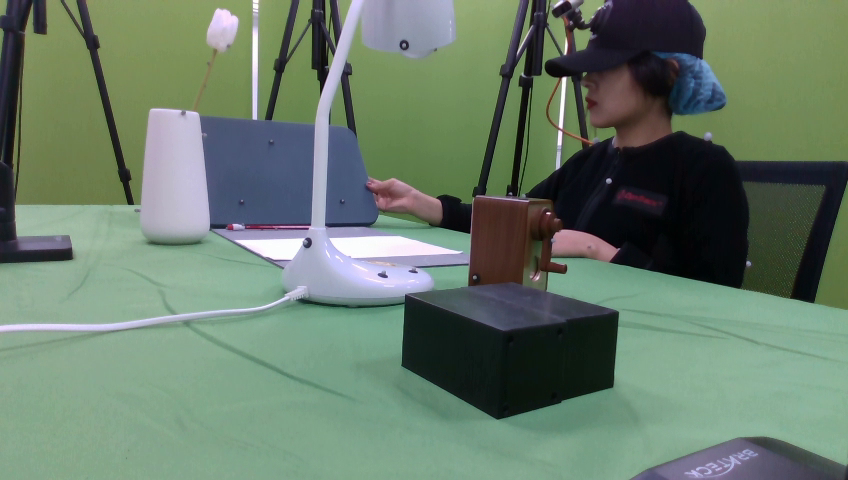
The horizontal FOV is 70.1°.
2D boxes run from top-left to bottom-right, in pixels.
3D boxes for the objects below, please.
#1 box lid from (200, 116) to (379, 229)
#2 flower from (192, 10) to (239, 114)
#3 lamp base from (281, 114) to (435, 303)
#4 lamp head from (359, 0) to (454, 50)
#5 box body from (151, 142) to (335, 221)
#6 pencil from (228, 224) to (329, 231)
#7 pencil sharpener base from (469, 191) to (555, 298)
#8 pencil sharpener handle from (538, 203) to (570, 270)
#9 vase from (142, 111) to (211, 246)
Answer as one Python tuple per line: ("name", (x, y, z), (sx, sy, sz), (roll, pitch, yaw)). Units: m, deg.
("box lid", (-0.282, -0.139, 1.234), (0.373, 0.262, 0.015), (-3, -30, -31))
("flower", (-0.353, -0.174, 0.915), (0.038, 0.361, 0.044), (17, -4, 12))
("lamp base", (-0.071, -0.035, 0.614), (0.160, 0.180, 0.180), (6, 10, 27))
("lamp head", (-0.024, -0.283, 0.674), (0.112, 0.123, 0.112), (-3, 38, 3))
("box body", (-0.413, -0.135, 1.379), (0.366, 0.160, 0.253), (-2, 9, -31))
("pencil", (-0.265, -0.024, 1.124), (0.195, 0.012, 0.012), (-1, 8, -32))
("pencil sharpener base", (0.097, 0.003, 0.652), (0.076, 0.107, 0.061), (8, 9, 38))
("pencil sharpener handle", (0.137, -0.003, 0.619), (0.030, 0.067, 0.036), (8, 5, 38))
("vase", (-0.378, -0.093, 0.920), (0.098, 0.200, 0.098), (2, 9, 0))
